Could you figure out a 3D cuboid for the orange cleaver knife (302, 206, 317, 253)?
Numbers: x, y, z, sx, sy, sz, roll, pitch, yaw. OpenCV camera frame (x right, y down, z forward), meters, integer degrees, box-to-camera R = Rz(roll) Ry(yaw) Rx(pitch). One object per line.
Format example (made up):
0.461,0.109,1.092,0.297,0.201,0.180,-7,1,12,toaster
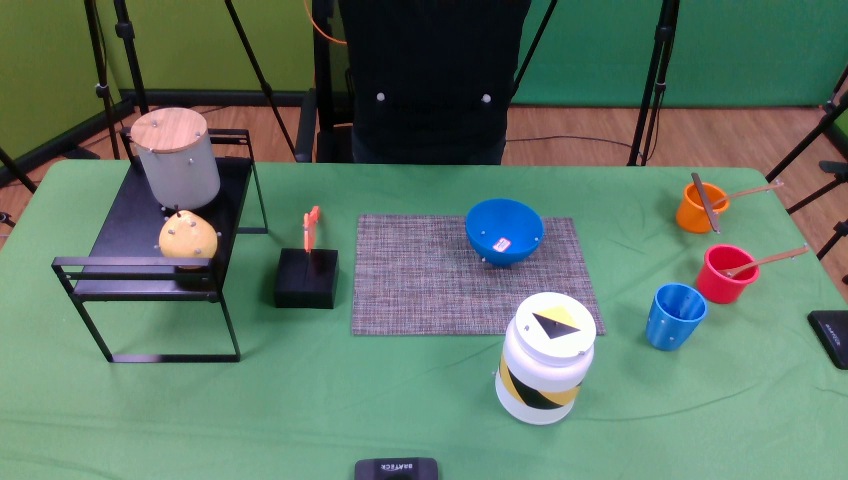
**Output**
-0.217,-0.024,1.150,0.012,0.077,0.210,-2,11,-5,orange cleaver knife

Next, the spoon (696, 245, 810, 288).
0.601,0.047,1.114,0.193,0.022,0.041,-26,36,33,spoon

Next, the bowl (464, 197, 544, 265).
0.149,-0.004,1.167,0.151,0.077,0.150,2,46,-2,bowl

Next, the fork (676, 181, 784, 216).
0.618,-0.083,1.235,0.019,0.207,0.028,54,40,-16,fork

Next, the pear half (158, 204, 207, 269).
-0.352,-0.015,0.873,0.056,0.110,0.076,25,45,19,pear half

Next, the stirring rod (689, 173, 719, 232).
0.565,-0.080,1.225,0.014,0.006,0.175,2,46,2,stirring rod

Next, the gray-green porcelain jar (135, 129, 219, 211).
-0.386,-0.118,0.959,0.106,0.127,0.105,2,46,-2,gray-green porcelain jar

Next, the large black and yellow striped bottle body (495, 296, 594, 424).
0.183,0.182,0.923,0.131,0.185,0.130,2,46,-2,large black and yellow striped bottle body

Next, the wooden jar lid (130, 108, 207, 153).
-0.383,-0.162,0.914,0.108,0.021,0.107,4,46,-4,wooden jar lid

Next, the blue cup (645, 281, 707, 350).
0.425,0.136,1.042,0.092,0.101,0.092,1,44,-1,blue cup

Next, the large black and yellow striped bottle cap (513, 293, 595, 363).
0.186,0.123,0.863,0.115,0.019,0.114,3,45,-3,large black and yellow striped bottle cap

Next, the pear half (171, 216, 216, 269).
-0.323,0.007,0.867,0.031,0.088,0.070,25,46,20,pear half
